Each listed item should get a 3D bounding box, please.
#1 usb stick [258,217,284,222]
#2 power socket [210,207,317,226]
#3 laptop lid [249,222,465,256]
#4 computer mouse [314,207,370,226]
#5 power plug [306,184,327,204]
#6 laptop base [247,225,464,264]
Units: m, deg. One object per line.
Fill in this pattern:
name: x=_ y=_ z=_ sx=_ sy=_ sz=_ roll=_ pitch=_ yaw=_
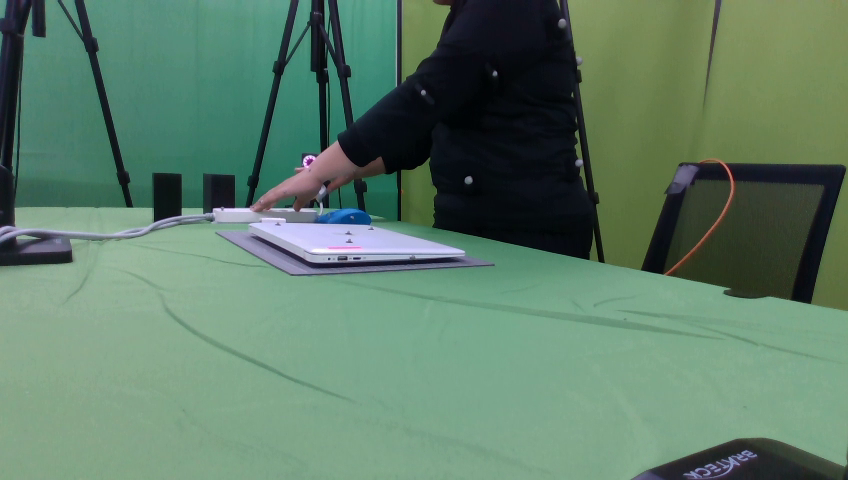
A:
usb stick: x=-0.290 y=-0.028 z=1.118 sx=0.059 sy=0.027 sz=0.021 roll=-4 pitch=11 yaw=-29
power socket: x=-0.335 y=-0.051 z=1.282 sx=0.228 sy=0.032 sz=0.072 roll=-2 pitch=10 yaw=-29
laptop lid: x=-0.122 y=-0.005 z=0.954 sx=0.243 sy=0.013 sz=0.355 roll=2 pitch=7 yaw=-28
computer mouse: x=-0.175 y=-0.047 z=1.292 sx=0.118 sy=0.041 sz=0.062 roll=-8 pitch=15 yaw=-33
power plug: x=-0.249 y=-0.101 z=1.387 sx=0.053 sy=0.035 sz=0.072 roll=-30 pitch=17 yaw=-18
laptop base: x=-0.124 y=0.006 z=0.955 sx=0.237 sy=0.023 sz=0.352 roll=2 pitch=6 yaw=-30
